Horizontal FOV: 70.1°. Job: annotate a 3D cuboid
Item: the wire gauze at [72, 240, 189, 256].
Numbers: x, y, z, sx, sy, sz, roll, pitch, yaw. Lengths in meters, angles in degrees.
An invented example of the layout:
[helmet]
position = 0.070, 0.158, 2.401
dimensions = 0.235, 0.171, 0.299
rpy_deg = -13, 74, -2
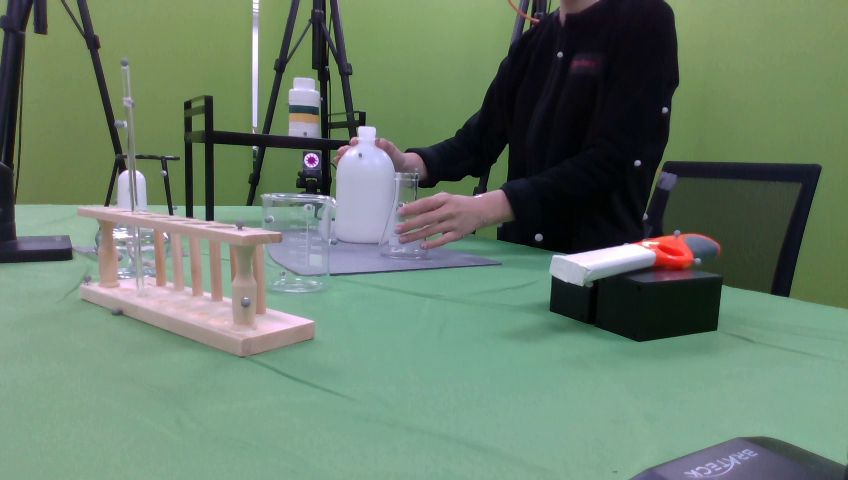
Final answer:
[wire gauze]
position = -0.399, 0.013, 0.820
dimensions = 0.126, 0.011, 0.121
rpy_deg = -3, 8, -37

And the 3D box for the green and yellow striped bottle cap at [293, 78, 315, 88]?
[green and yellow striped bottle cap]
position = -0.248, -0.324, 1.256
dimensions = 0.045, 0.020, 0.045
rpy_deg = 4, 8, 0

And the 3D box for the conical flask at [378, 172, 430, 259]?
[conical flask]
position = -0.027, -0.037, 0.869
dimensions = 0.075, 0.122, 0.075
rpy_deg = 2, 8, 0

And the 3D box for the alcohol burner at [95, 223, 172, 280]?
[alcohol burner]
position = -0.320, -0.016, 0.667
dimensions = 0.078, 0.119, 0.078
rpy_deg = 0, 7, 0

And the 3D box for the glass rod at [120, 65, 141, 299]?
[glass rod]
position = -0.248, -0.047, 0.513
dimensions = 0.008, 0.199, 0.008
rpy_deg = -1, 4, 0

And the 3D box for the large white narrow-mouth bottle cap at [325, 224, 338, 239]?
[large white narrow-mouth bottle cap]
position = -0.160, -0.016, 1.090
dimensions = 0.038, 0.024, 0.037
rpy_deg = 3, 9, 0

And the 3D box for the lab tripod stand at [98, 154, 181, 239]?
[lab tripod stand]
position = -0.427, -0.066, 0.942
dimensions = 0.148, 0.131, 0.148
rpy_deg = 1, 6, 0

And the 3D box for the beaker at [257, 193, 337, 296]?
[beaker]
position = -0.130, 0.003, 0.628
dimensions = 0.084, 0.100, 0.074
rpy_deg = 5, 8, 15

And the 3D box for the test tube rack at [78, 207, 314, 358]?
[test tube rack]
position = -0.196, 0.024, 0.500
dimensions = 0.241, 0.085, 0.067
rpy_deg = 8, 8, 37

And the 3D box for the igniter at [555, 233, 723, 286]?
[igniter]
position = 0.214, 0.015, 0.570
dimensions = 0.278, 0.025, 0.057
rpy_deg = -6, 22, -44

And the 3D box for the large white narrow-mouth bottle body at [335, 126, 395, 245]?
[large white narrow-mouth bottle body]
position = -0.098, -0.094, 1.018
dimensions = 0.102, 0.194, 0.101
rpy_deg = 2, 9, 0

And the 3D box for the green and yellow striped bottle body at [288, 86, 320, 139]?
[green and yellow striped bottle body]
position = -0.250, -0.272, 1.261
dimensions = 0.063, 0.119, 0.063
rpy_deg = 3, 7, 0

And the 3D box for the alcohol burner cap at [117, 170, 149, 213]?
[alcohol burner cap]
position = -0.320, -0.052, 0.661
dimensions = 0.034, 0.048, 0.034
rpy_deg = -3, 0, 0
